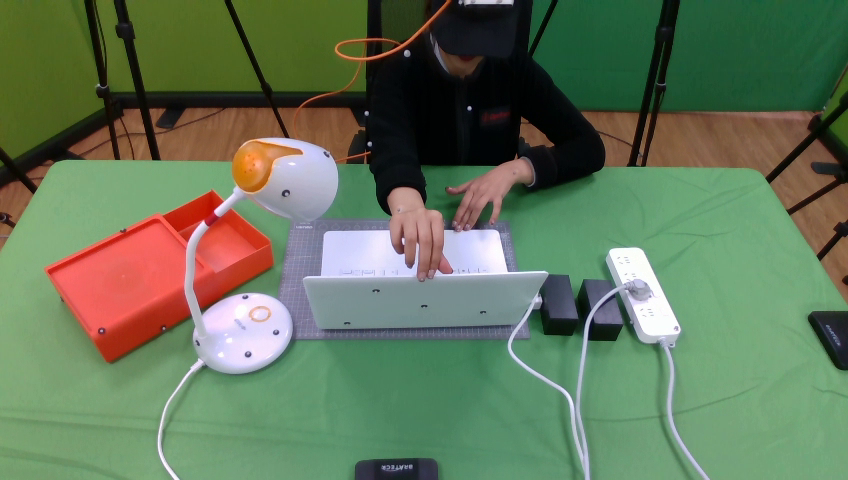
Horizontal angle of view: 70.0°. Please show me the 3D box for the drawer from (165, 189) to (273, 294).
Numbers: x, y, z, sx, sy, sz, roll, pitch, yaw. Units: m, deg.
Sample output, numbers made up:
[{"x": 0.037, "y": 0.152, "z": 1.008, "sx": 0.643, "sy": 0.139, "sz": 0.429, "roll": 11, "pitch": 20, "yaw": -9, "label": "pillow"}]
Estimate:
[{"x": -0.419, "y": 0.022, "z": 1.108, "sx": 0.193, "sy": 0.073, "sz": 0.211, "roll": 37, "pitch": 55, "yaw": 27, "label": "drawer"}]

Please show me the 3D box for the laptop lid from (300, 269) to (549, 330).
[{"x": -0.002, "y": 0.098, "z": 0.945, "sx": 0.357, "sy": 0.242, "sz": 0.013, "roll": -1, "pitch": 64, "yaw": -6, "label": "laptop lid"}]

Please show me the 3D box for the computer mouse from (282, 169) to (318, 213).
[{"x": -0.259, "y": -0.106, "z": 1.272, "sx": 0.063, "sy": 0.041, "sz": 0.116, "roll": 4, "pitch": 50, "yaw": -3, "label": "computer mouse"}]

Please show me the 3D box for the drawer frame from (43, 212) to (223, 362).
[{"x": -0.497, "y": 0.073, "z": 1.049, "sx": 0.213, "sy": 0.083, "sz": 0.200, "roll": -34, "pitch": 57, "yaw": -31, "label": "drawer frame"}]

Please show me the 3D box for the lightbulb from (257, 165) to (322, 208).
[{"x": -0.181, "y": -0.076, "z": 0.810, "sx": 0.059, "sy": 0.059, "sz": 0.108, "roll": 36, "pitch": 12, "yaw": 27, "label": "lightbulb"}]

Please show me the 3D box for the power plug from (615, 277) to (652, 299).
[{"x": 0.375, "y": 0.088, "z": 1.096, "sx": 0.072, "sy": 0.053, "sz": 0.035, "roll": 6, "pitch": 46, "yaw": 2, "label": "power plug"}]

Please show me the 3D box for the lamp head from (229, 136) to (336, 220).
[{"x": -0.196, "y": -0.085, "z": 0.791, "sx": 0.112, "sy": 0.112, "sz": 0.123, "roll": 36, "pitch": 15, "yaw": 27, "label": "lamp head"}]

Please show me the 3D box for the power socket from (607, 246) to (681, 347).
[{"x": 0.403, "y": 0.096, "z": 1.123, "sx": 0.072, "sy": 0.033, "sz": 0.225, "roll": -3, "pitch": 47, "yaw": -5, "label": "power socket"}]

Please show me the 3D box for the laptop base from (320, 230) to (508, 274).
[{"x": -0.016, "y": 0.067, "z": 1.133, "sx": 0.355, "sy": 0.023, "sz": 0.234, "roll": -1, "pitch": 43, "yaw": -5, "label": "laptop base"}]

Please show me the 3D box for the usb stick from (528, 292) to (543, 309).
[{"x": 0.181, "y": 0.109, "z": 1.089, "sx": 0.059, "sy": 0.027, "sz": 0.021, "roll": -2, "pitch": 47, "yaw": -6, "label": "usb stick"}]

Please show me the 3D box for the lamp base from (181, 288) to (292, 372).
[{"x": -0.309, "y": 0.108, "z": 0.959, "sx": 0.160, "sy": 0.181, "sz": 0.179, "roll": 29, "pitch": 55, "yaw": 22, "label": "lamp base"}]
